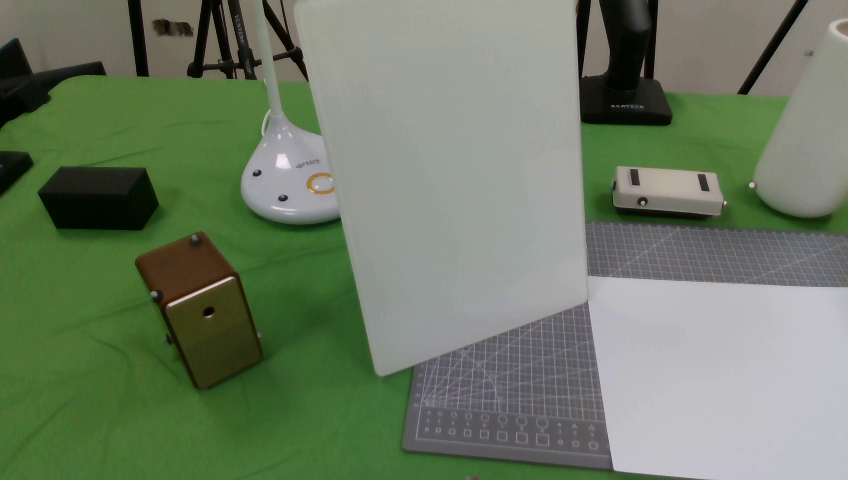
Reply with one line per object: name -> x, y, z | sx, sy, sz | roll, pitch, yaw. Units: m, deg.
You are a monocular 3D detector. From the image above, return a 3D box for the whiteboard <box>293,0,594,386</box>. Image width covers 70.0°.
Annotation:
whiteboard -> 0.014, -0.066, 0.543 | 0.218, 0.307, 0.142 | -17, 24, -16

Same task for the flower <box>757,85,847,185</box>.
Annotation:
flower -> 0.429, -0.172, 0.567 | 0.044, 0.364, 0.038 | -13, 59, -22

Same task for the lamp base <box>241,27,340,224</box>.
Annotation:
lamp base -> -0.147, -0.136, 0.682 | 0.160, 0.182, 0.177 | -31, 46, -30

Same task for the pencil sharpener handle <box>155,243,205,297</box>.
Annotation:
pencil sharpener handle -> -0.216, 0.023, 0.536 | 0.036, 0.068, 0.030 | -34, 49, -20

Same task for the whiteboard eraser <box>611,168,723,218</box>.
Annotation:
whiteboard eraser -> 0.269, -0.051, 0.679 | 0.112, 0.042, 0.055 | 4, 39, 8

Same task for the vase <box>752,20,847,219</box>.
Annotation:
vase -> 0.423, -0.119, 0.633 | 0.098, 0.202, 0.097 | 0, 41, 0

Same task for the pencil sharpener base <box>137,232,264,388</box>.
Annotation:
pencil sharpener base -> -0.187, 0.059, 0.512 | 0.061, 0.108, 0.076 | -27, 46, -26
